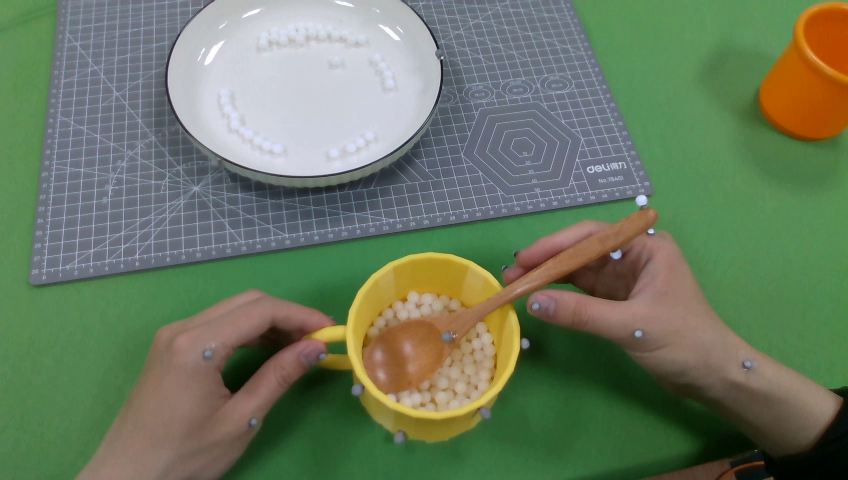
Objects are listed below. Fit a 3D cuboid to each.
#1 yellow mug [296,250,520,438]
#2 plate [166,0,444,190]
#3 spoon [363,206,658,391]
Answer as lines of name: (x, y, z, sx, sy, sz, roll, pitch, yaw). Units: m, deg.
yellow mug: (-0.012, 0.065, 0.367, 0.131, 0.064, 0.099, -1, 62, -4)
plate: (-0.088, -0.122, 0.474, 0.208, 0.039, 0.206, 2, 62, -3)
spoon: (0.047, 0.034, 0.352, 0.194, 0.022, 0.041, -32, 68, 16)
